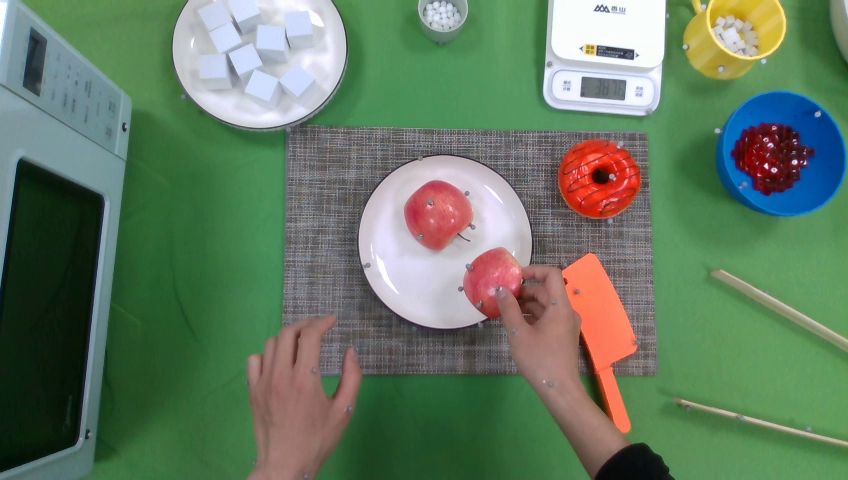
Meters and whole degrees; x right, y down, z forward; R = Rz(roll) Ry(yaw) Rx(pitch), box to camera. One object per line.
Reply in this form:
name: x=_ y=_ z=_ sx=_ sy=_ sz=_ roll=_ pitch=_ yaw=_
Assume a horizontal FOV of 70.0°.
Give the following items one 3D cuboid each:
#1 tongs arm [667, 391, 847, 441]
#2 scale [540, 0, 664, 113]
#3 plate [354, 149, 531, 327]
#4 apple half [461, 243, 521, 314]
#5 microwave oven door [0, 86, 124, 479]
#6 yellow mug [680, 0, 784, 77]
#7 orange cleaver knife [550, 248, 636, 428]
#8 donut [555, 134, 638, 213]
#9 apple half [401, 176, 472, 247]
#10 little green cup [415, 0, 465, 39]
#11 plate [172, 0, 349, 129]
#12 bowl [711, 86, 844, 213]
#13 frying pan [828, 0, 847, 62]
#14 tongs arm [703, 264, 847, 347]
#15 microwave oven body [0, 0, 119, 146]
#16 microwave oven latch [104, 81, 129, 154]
tongs arm: x=0.483 y=0.213 z=0.725 sx=0.385 sy=0.026 sz=0.050 roll=16 pitch=77 yaw=-1
scale: x=0.227 y=-0.266 z=0.769 sx=0.149 sy=0.031 sz=0.200 roll=5 pitch=83 yaw=-2
plate: x=0.022 y=-0.002 z=0.720 sx=0.209 sy=0.038 sz=0.208 roll=0 pitch=83 yaw=-3
apple half: x=0.066 y=0.039 z=0.663 sx=0.033 sy=0.081 sz=0.081 roll=8 pitch=80 yaw=-41
microwave oven door: x=-0.370 y=0.062 z=0.573 sx=0.039 sy=0.244 sz=0.354 roll=3 pitch=83 yaw=-2
yellow mug: x=0.376 y=-0.279 z=0.762 sx=0.100 sy=0.064 sz=0.130 roll=-32 pitch=85 yaw=-6
orange cleaver knife: x=0.215 y=0.115 z=0.726 sx=0.077 sy=0.012 sz=0.210 roll=-17 pitch=83 yaw=-10
donut: x=0.208 y=-0.081 z=0.736 sx=0.099 sy=0.048 sz=0.099 roll=0 pitch=84 yaw=-1
apple half: x=0.014 y=-0.038 z=0.708 sx=0.081 sy=0.053 sz=0.074 roll=-36 pitch=83 yaw=-7
little green cup: x=0.020 y=-0.284 z=0.757 sx=0.061 sy=0.039 sz=0.061 roll=0 pitch=83 yaw=-3
plate: x=-0.195 y=-0.232 z=0.739 sx=0.208 sy=0.039 sz=0.207 roll=0 pitch=83 yaw=-3
bowl: x=0.411 y=-0.102 z=0.737 sx=0.151 sy=0.077 sz=0.151 roll=0 pitch=84 yaw=-3
frying pan: x=0.701 y=-0.211 z=0.753 sx=0.307 sy=0.103 sz=0.485 roll=-26 pitch=77 yaw=-5
tongs arm: x=0.515 y=0.132 z=0.741 sx=0.387 sy=0.028 sz=0.028 roll=31 pitch=74 yaw=1
microwave oven body: x=-0.514 y=0.013 z=0.576 sx=0.326 sy=0.260 sz=0.440 roll=3 pitch=84 yaw=-3
microwave oven latch: x=-0.362 y=-0.142 z=0.700 sx=0.030 sy=0.029 sz=0.079 roll=5 pitch=84 yaw=-3
